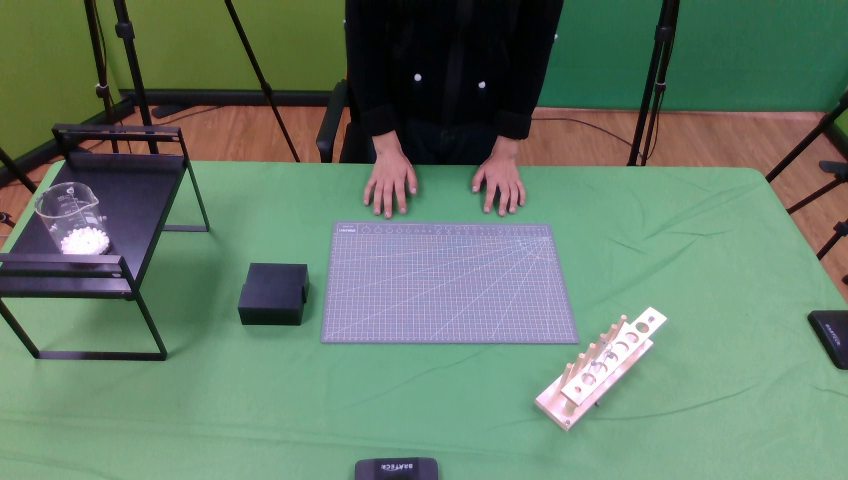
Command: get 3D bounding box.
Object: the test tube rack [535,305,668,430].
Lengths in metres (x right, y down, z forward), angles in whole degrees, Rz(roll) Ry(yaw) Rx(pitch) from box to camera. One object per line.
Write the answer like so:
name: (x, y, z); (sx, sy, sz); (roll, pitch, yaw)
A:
test tube rack: (0.290, 0.193, 0.984); (0.242, 0.085, 0.066); (-32, 56, -30)

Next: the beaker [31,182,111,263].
beaker: (-0.502, -0.022, 0.877); (0.084, 0.101, 0.073); (-2, 47, -7)

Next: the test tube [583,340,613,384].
test tube: (0.252, 0.200, 0.907); (0.017, 0.151, 0.017); (5, 44, -4)
